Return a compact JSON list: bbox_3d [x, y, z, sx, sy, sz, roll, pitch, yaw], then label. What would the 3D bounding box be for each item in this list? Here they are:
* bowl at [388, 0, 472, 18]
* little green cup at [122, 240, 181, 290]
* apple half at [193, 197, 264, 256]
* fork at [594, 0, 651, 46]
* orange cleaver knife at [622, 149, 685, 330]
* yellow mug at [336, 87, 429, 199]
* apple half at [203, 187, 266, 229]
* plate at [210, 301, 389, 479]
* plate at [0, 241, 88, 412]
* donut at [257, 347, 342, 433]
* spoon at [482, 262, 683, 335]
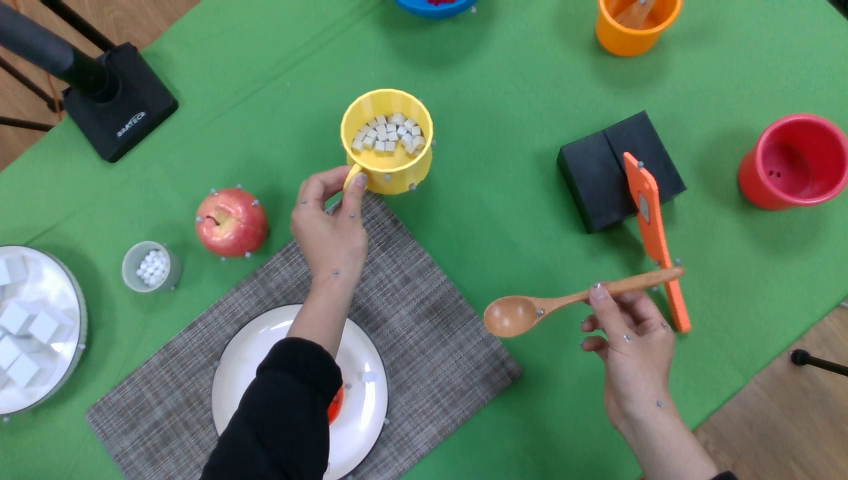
[{"bbox_3d":[0.012,-0.330,0.734,0.151,0.077,0.151,-1,83,6],"label":"bowl"},{"bbox_3d":[-0.333,0.033,0.745,0.061,0.039,0.061,-1,83,7],"label":"little green cup"},{"bbox_3d":[-0.237,-0.009,0.723,0.080,0.075,0.053,30,91,6],"label":"apple half"},{"bbox_3d":[0.271,-0.291,0.665,0.207,0.019,0.028,-41,74,44],"label":"fork"},{"bbox_3d":[0.250,0.002,0.662,0.012,0.076,0.213,-21,113,5],"label":"orange cleaver knife"},{"bbox_3d":[-0.053,-0.099,0.673,0.099,0.064,0.130,34,76,8],"label":"yellow mug"},{"bbox_3d":[-0.218,-0.043,0.724,0.081,0.081,0.033,29,90,9],"label":"apple half"},{"bbox_3d":[-0.142,0.174,0.703,0.209,0.038,0.208,-1,83,6],"label":"plate"},{"bbox_3d":[-0.512,0.106,0.754,0.207,0.039,0.207,-1,82,6],"label":"plate"},{"bbox_3d":[-0.141,0.171,0.692,0.099,0.048,0.099,0,86,6],"label":"donut"},{"bbox_3d":[0.148,0.053,0.582,0.193,0.022,0.041,-18,69,21],"label":"spoon"}]
